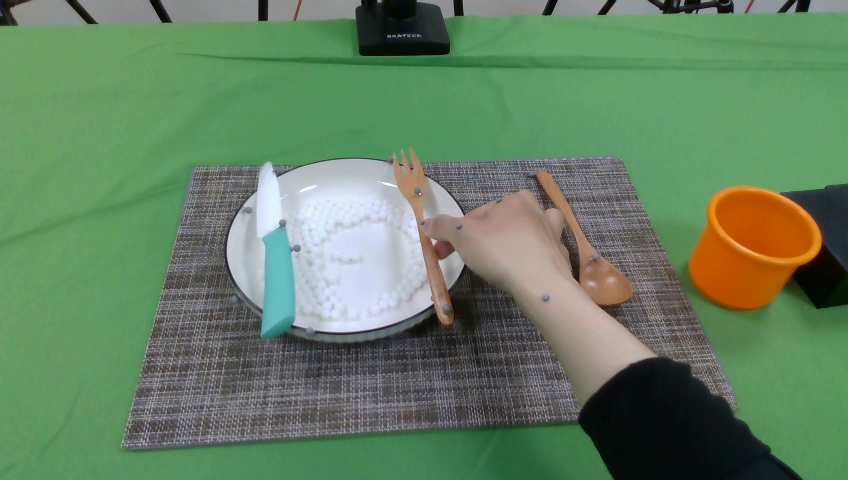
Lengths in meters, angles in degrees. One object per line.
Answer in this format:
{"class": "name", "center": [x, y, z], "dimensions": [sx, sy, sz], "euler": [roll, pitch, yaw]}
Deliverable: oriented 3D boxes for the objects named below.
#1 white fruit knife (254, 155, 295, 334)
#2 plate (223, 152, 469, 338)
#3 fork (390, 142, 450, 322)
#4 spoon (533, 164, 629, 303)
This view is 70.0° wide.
{"class": "white fruit knife", "center": [-0.127, -0.008, 0.505], "dimensions": [0.027, 0.016, 0.205], "euler": [-10, 48, -9]}
{"class": "plate", "center": [-0.065, 0.002, 0.530], "dimensions": [0.209, 0.038, 0.207], "euler": [2, 47, -2]}
{"class": "fork", "center": [-0.004, -0.015, 0.520], "dimensions": [0.028, 0.019, 0.205], "euler": [-12, 47, -2]}
{"class": "spoon", "center": [0.139, -0.014, 0.568], "dimensions": [0.041, 0.022, 0.191], "euler": [-19, 49, 3]}
